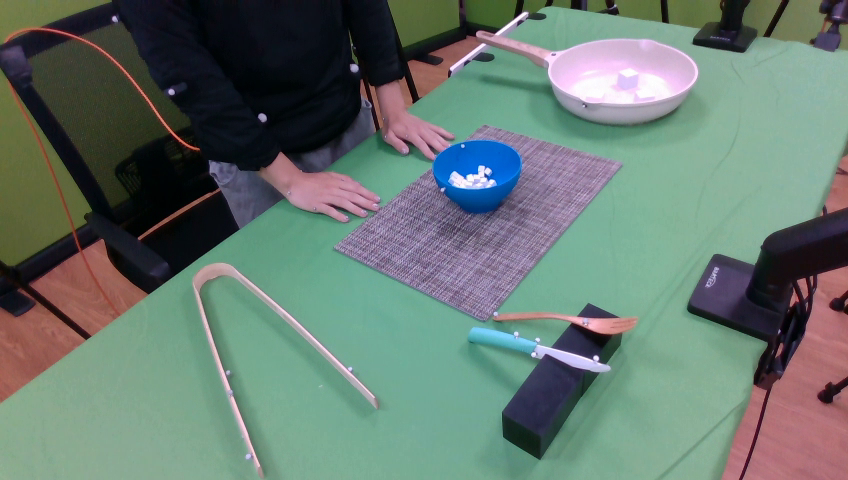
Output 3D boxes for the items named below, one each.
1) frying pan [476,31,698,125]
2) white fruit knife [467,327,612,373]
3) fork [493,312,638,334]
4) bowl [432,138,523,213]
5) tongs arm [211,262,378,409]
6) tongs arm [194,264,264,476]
[{"bbox_3d":[0.321,-0.371,1.290,0.484,0.103,0.307,29,51,24],"label":"frying pan"},{"bbox_3d":[0.134,0.134,0.742,0.205,0.027,0.016,7,34,41],"label":"white fruit knife"},{"bbox_3d":[0.173,0.103,0.774,0.206,0.019,0.028,0,42,40],"label":"fork"},{"bbox_3d":[0.091,-0.099,1.021,0.151,0.077,0.150,-4,41,4],"label":"bowl"},{"bbox_3d":[-0.192,0.121,0.850,0.028,0.028,0.384,-37,48,-27],"label":"tongs arm"},{"bbox_3d":[-0.259,0.153,0.816,0.051,0.026,0.381,-24,42,-20],"label":"tongs arm"}]
